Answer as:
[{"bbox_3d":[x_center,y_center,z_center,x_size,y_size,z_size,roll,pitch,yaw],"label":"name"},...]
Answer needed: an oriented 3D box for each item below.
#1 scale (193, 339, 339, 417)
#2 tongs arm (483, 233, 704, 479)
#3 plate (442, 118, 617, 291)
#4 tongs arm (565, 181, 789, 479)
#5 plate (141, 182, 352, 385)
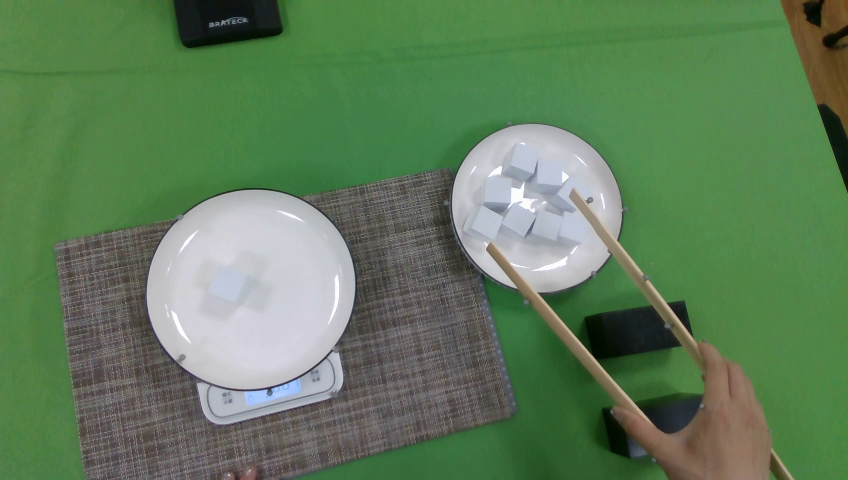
[{"bbox_3d":[-0.182,0.079,0.656,0.149,0.031,0.200,-12,81,-9],"label":"scale"},{"bbox_3d":[0.187,0.137,0.571,0.028,0.028,0.385,-37,77,-20],"label":"tongs arm"},{"bbox_3d":[0.123,-0.041,0.719,0.208,0.039,0.206,2,79,-7],"label":"plate"},{"bbox_3d":[0.237,0.106,0.585,0.051,0.026,0.382,-31,75,-15],"label":"tongs arm"},{"bbox_3d":[-0.180,0.044,0.629,0.209,0.038,0.208,2,79,-8],"label":"plate"}]
